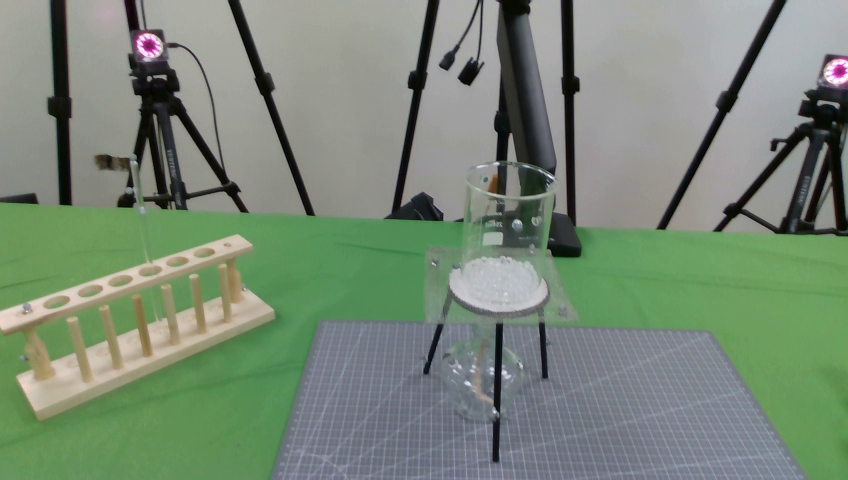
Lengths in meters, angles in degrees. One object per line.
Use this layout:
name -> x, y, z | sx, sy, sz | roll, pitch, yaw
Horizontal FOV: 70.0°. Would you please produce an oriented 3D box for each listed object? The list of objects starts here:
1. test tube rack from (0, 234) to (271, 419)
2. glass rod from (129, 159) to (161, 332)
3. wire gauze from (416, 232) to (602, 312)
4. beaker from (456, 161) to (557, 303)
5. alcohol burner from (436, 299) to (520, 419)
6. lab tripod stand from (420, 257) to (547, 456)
test tube rack -> -0.284, 0.077, 0.620 | 0.243, 0.086, 0.066 | -22, 37, -38
glass rod -> -0.276, 0.013, 0.599 | 0.008, 0.201, 0.008 | 5, 31, -3
wire gauze -> 0.068, 0.026, 0.509 | 0.125, 0.011, 0.120 | -4, 26, -21
beaker -> 0.066, -0.006, 0.498 | 0.084, 0.101, 0.073 | -9, 32, -20
alcohol burner -> 0.051, 0.104, 0.556 | 0.078, 0.120, 0.077 | 3, 28, -1
lab tripod stand -> 0.061, 0.096, 0.551 | 0.148, 0.132, 0.147 | 3, 29, -1
